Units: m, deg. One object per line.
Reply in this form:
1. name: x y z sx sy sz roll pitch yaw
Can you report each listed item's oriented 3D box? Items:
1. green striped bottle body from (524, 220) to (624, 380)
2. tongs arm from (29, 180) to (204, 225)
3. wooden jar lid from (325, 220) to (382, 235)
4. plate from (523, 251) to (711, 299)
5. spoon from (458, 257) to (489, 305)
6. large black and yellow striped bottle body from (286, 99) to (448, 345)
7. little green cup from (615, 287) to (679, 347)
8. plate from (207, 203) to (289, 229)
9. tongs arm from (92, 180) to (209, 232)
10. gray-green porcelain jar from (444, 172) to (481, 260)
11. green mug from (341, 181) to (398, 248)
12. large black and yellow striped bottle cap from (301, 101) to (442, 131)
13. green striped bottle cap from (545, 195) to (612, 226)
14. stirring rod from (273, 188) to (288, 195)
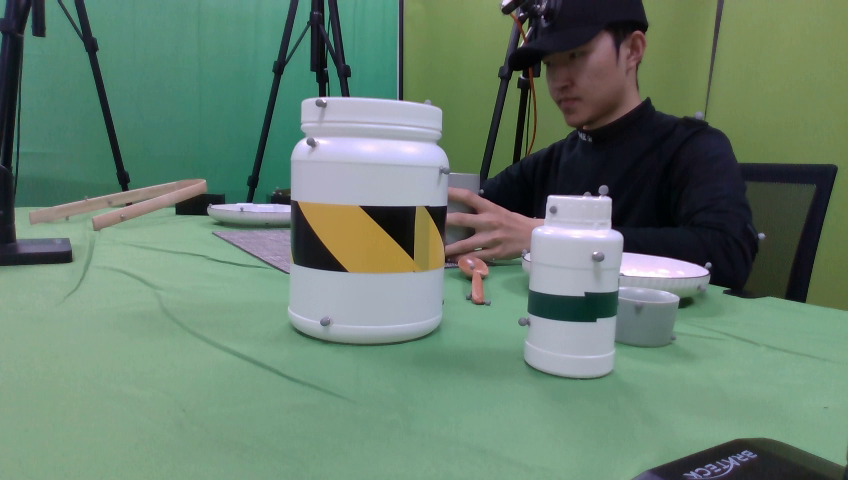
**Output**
1. green striped bottle body: 0.104 0.031 0.422 0.063 0.119 0.063 2 8 0
2. tongs arm: -0.609 -0.083 1.245 0.050 0.026 0.386 5 16 23
3. wooden jar lid: -0.136 -0.025 1.162 0.108 0.020 0.108 3 9 0
4. plate: 0.219 0.042 0.706 0.209 0.038 0.209 2 7 0
5. spoon: 0.059 0.044 0.696 0.041 0.021 0.194 19 7 0
6. large black and yellow striped bottle body: -0.047 -0.018 0.501 0.131 0.184 0.130 2 7 0
7. little green cup: 0.180 0.064 0.506 0.061 0.038 0.061 2 8 0
8. plate: -0.342 -0.050 1.259 0.208 0.039 0.207 2 7 0
9. tongs arm: -0.534 -0.076 1.221 0.028 0.028 0.388 -2 15 12
10. gray-green porcelain jar: 0.028 -0.037 0.892 0.106 0.126 0.106 2 7 0
11. green mug: -0.090 -0.044 0.996 0.093 0.105 0.125 0 7 -9
12. large black and yellow striped bottle cap: -0.042 -0.100 0.491 0.115 0.019 0.115 1 8 0
13. green striped bottle cap: 0.106 -0.020 0.414 0.044 0.020 0.044 2 4 0
14. stirring rod: -0.353 -0.122 1.518 0.006 0.014 0.176 2 7 2
